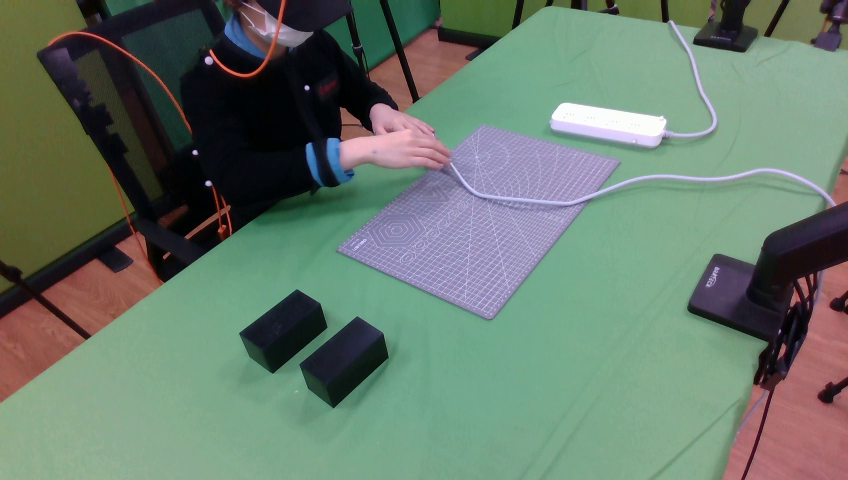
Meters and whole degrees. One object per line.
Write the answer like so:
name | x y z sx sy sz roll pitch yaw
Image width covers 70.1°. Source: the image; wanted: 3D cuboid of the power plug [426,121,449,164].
power plug | 0.034 -0.179 1.143 0.053 0.072 0.035 33 27 -20

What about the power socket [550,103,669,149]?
power socket | 0.353 -0.222 1.169 0.225 0.033 0.072 17 47 25
